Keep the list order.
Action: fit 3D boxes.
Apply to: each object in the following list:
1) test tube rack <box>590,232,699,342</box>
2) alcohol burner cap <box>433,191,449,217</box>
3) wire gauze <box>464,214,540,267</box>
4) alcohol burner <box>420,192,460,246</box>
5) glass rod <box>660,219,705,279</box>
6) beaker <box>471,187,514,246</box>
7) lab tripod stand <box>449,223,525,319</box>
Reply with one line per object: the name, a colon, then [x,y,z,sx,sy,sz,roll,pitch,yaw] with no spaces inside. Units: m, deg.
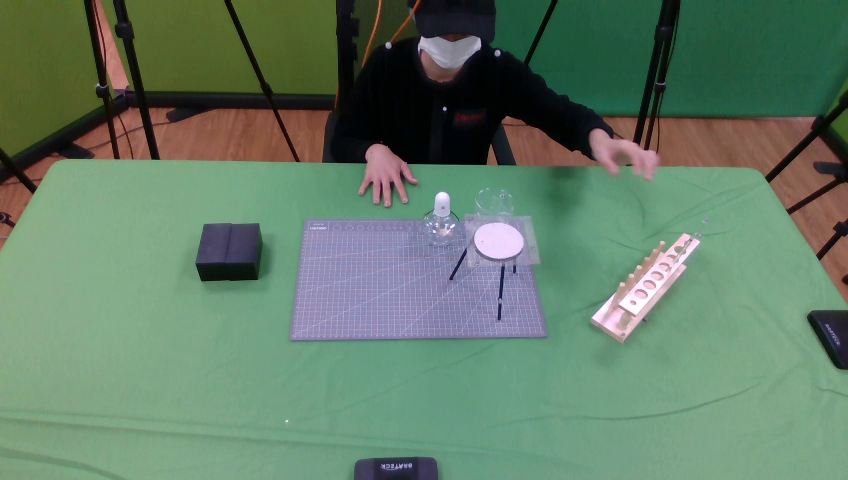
test tube rack: [0.407,0.074,1.112,0.066,0.085,0.242,35,53,26]
alcohol burner cap: [0.033,-0.070,1.150,0.034,0.048,0.033,0,45,0]
wire gauze: [0.131,-0.002,1.034,0.121,0.011,0.124,1,45,-2]
alcohol burner: [0.032,-0.046,1.176,0.078,0.120,0.077,2,44,-1]
glass rod: [0.444,0.032,1.063,0.008,0.200,0.008,5,48,-6]
beaker: [0.134,-0.042,1.190,0.083,0.101,0.074,34,53,25]
lab tripod stand: [0.120,0.046,1.080,0.148,0.132,0.147,1,47,-1]
